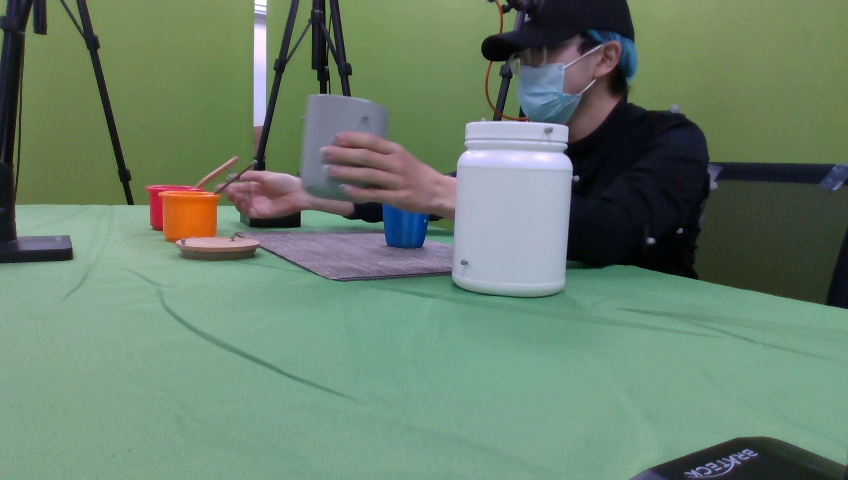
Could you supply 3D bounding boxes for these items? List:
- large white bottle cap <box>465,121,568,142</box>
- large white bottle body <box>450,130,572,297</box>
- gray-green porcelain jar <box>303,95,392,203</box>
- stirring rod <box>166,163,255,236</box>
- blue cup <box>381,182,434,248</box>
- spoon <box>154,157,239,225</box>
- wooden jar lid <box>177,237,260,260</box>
[{"bbox_3d":[0.103,-0.121,0.677,0.115,0.018,0.115,3,7,0],"label":"large white bottle cap"},{"bbox_3d":[0.099,-0.037,0.688,0.131,0.184,0.130,2,7,0],"label":"large white bottle body"},{"bbox_3d":[-0.101,-0.115,0.788,0.106,0.126,0.106,7,2,0],"label":"gray-green porcelain jar"},{"bbox_3d":[-0.341,-0.066,0.967,0.176,0.006,0.014,-42,24,-9],"label":"stirring rod"},{"bbox_3d":[-0.030,-0.041,0.979,0.093,0.100,0.092,3,9,0],"label":"blue cup"},{"bbox_3d":[-0.411,-0.092,1.105,0.041,0.022,0.194,13,56,51],"label":"spoon"},{"bbox_3d":[-0.283,0.012,0.833,0.108,0.020,0.108,1,7,0],"label":"wooden jar lid"}]
